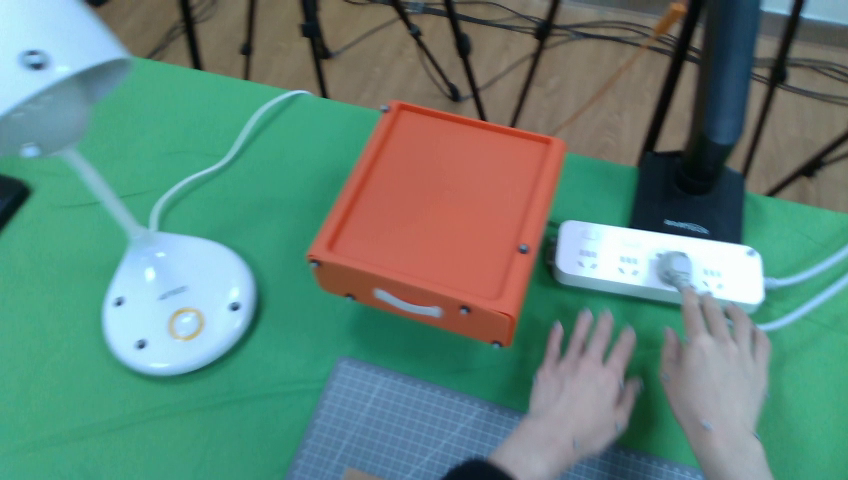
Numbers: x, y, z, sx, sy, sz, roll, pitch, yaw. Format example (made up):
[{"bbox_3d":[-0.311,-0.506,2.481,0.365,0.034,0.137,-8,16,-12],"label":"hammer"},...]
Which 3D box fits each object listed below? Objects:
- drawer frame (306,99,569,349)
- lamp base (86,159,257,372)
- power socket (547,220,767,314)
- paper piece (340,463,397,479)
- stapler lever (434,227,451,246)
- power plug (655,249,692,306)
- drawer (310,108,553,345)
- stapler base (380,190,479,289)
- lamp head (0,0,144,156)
[{"bbox_3d":[0.020,-0.024,0.615,0.201,0.083,0.212,16,59,13],"label":"drawer frame"},{"bbox_3d":[-0.273,0.017,0.596,0.160,0.182,0.177,-33,59,-17],"label":"lamp base"},{"bbox_3d":[0.249,0.027,0.652,0.226,0.033,0.071,10,60,8],"label":"power socket"},{"bbox_3d":[-0.031,0.278,0.522,0.135,0.009,0.137,14,61,15],"label":"paper piece"},{"bbox_3d":[-0.008,-0.016,0.602,0.027,0.040,0.117,-43,60,-3],"label":"stapler lever"},{"bbox_3d":[0.250,0.041,0.617,0.035,0.053,0.072,20,61,14],"label":"power plug"},{"bbox_3d":[0.021,-0.022,0.613,0.194,0.074,0.210,16,59,13],"label":"drawer"},{"bbox_3d":[0.002,-0.005,0.625,0.041,0.024,0.129,-43,62,-3],"label":"stapler base"},{"bbox_3d":[-0.242,-0.120,0.339,0.112,0.112,0.123,-41,103,-20],"label":"lamp head"}]
